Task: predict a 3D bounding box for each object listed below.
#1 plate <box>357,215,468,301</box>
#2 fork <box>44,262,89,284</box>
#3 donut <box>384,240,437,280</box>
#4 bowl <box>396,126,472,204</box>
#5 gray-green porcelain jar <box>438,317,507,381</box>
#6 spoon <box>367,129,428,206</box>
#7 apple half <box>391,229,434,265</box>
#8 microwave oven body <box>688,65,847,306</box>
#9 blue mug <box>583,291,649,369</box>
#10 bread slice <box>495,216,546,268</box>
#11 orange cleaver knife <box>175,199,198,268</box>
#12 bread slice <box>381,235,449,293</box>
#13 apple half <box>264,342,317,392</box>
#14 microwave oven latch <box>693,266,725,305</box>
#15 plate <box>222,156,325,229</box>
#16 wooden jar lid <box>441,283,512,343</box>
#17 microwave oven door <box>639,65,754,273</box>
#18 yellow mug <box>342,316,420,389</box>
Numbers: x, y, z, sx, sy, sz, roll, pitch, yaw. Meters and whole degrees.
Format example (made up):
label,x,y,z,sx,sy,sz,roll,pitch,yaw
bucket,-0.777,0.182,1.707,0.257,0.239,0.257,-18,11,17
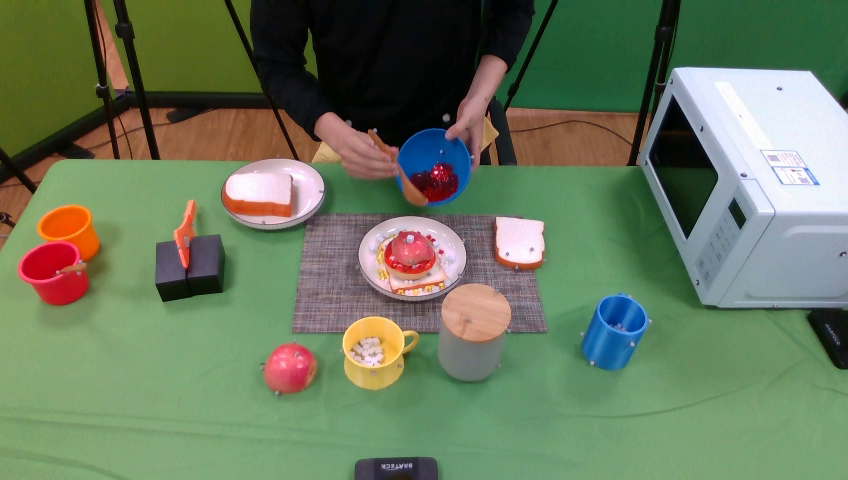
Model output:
label,x,y,z,sx,sy,sz,roll,pitch,yaw
plate,-0.022,0.037,1.141,0.208,0.039,0.206,2,46,-2
fork,-0.598,0.054,1.014,0.207,0.019,0.028,-15,29,45
donut,-0.025,0.030,1.110,0.099,0.048,0.098,3,46,-3
bowl,0.027,-0.139,1.180,0.151,0.077,0.151,-2,85,16
gray-green porcelain jar,0.076,0.158,0.977,0.106,0.127,0.105,2,46,-2
spoon,-0.046,-0.118,1.024,0.041,0.195,0.021,6,54,36
apple half,-0.021,0.004,1.083,0.081,0.033,0.081,7,49,-8
microwave oven body,0.669,-0.111,1.176,0.326,0.261,0.439,0,46,-3
blue mug,0.324,0.142,1.023,0.082,0.106,0.116,15,47,11
bread slice,0.194,0.002,1.205,0.105,0.019,0.131,5,45,2
orange cleaver knife,-0.438,-0.017,1.138,0.012,0.077,0.210,-14,27,-6
bread slice,-0.027,0.040,1.141,0.107,0.018,0.133,-12,50,-15
apple half,-0.214,0.198,0.970,0.074,0.053,0.080,19,48,10
microwave oven latch,0.523,0.082,1.115,0.030,0.029,0.078,3,46,0
plate,-0.308,-0.095,1.251,0.209,0.038,0.208,3,47,-3
wooden jar lid,0.080,0.114,0.931,0.108,0.021,0.107,1,49,-1
microwave oven door,0.522,-0.147,1.192,0.039,0.245,0.353,0,47,-3
yellow mug,-0.067,0.177,0.991,0.131,0.064,0.099,-16,50,-19
